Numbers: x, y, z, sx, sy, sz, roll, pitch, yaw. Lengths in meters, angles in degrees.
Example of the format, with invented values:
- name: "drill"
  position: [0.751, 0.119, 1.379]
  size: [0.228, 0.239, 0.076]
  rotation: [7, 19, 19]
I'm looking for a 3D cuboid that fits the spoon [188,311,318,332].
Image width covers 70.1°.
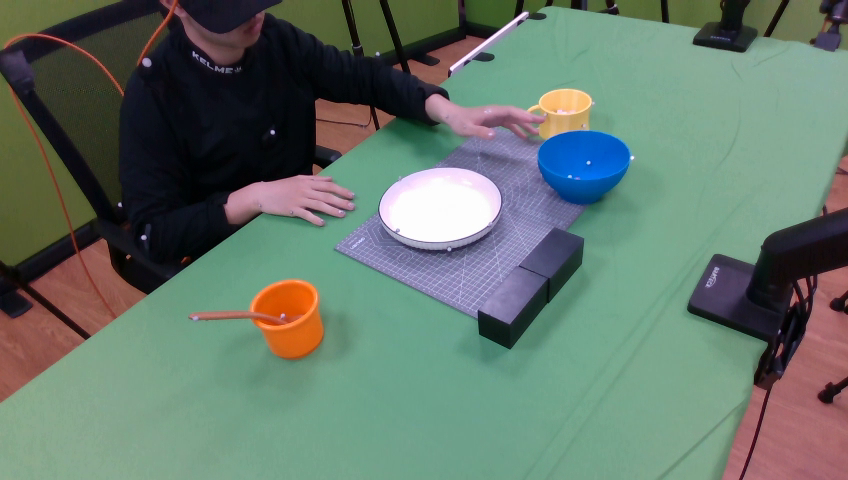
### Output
- name: "spoon"
  position: [-0.216, 0.102, 0.784]
  size: [0.041, 0.195, 0.021]
  rotation: [27, 95, 39]

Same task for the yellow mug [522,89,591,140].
- name: "yellow mug"
  position: [0.257, -0.239, 1.178]
  size: [0.131, 0.064, 0.099]
  rotation: [-6, 41, 3]

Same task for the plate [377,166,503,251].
- name: "plate"
  position: [0.027, -0.050, 1.007]
  size: [0.209, 0.038, 0.208]
  rotation: [-4, 41, 4]

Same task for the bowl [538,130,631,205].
- name: "bowl"
  position: [0.265, -0.113, 1.015]
  size: [0.151, 0.077, 0.150]
  rotation: [-4, 40, 4]
